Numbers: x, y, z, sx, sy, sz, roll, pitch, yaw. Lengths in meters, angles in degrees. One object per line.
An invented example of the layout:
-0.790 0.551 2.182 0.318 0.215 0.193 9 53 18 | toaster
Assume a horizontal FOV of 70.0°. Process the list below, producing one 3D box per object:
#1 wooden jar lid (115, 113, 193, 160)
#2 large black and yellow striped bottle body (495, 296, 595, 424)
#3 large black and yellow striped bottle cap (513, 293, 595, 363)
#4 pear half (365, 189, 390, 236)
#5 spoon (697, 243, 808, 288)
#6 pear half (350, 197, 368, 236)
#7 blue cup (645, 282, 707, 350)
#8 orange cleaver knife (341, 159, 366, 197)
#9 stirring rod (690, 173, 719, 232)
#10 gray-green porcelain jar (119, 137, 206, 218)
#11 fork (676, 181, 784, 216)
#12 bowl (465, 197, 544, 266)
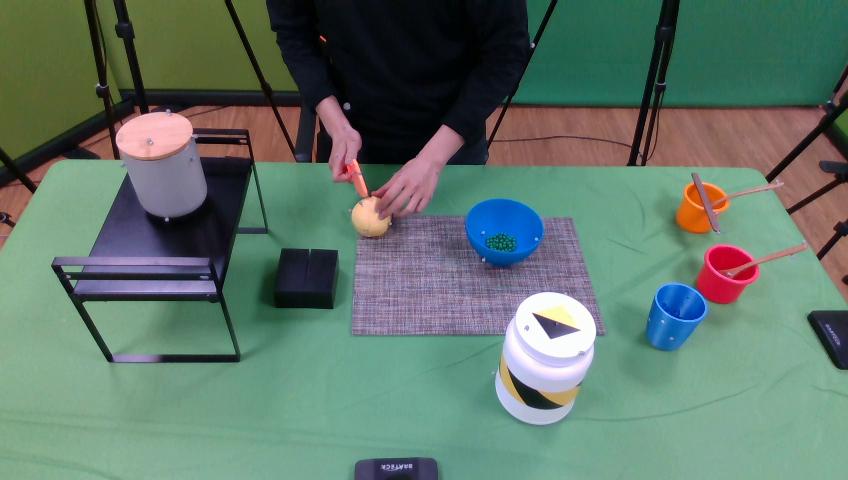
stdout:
-0.399 -0.151 0.900 0.108 0.021 0.107 3 46 -3 | wooden jar lid
0.183 0.182 0.923 0.131 0.185 0.130 2 46 -2 | large black and yellow striped bottle body
0.185 0.123 0.863 0.115 0.019 0.114 3 45 -3 | large black and yellow striped bottle cap
-0.093 -0.059 1.179 0.056 0.110 0.076 -12 54 -18 | pear half
0.601 0.045 1.115 0.194 0.022 0.041 -29 35 30 | spoon
-0.128 -0.047 1.179 0.031 0.088 0.070 -13 52 -17 | pear half
0.425 0.136 1.042 0.093 0.101 0.092 1 44 -1 | blue cup
-0.133 -0.121 1.147 0.012 0.077 0.210 -20 15 -10 | orange cleaver knife
0.566 -0.079 1.225 0.014 0.006 0.175 2 45 2 | stirring rod
-0.403 -0.106 0.946 0.106 0.127 0.105 3 46 -2 | gray-green porcelain jar
0.618 -0.084 1.235 0.019 0.207 0.028 55 40 -15 | fork
0.149 -0.004 1.167 0.151 0.077 0.150 2 46 -2 | bowl
